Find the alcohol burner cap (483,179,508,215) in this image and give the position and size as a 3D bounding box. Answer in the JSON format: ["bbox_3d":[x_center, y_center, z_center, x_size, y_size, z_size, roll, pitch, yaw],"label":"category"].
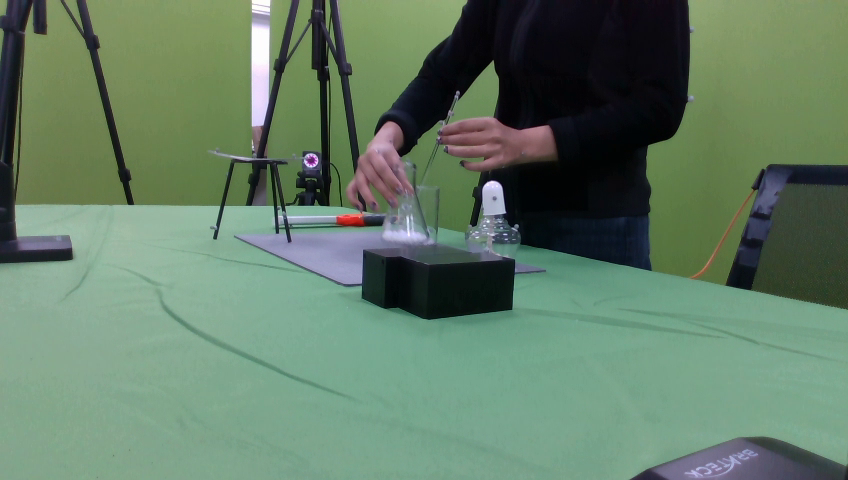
[{"bbox_3d":[0.094,-0.057,0.810,0.034,0.048,0.034,-8,6,1],"label":"alcohol burner cap"}]

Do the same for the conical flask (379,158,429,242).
[{"bbox_3d":[-0.031,-0.060,0.904,0.075,0.122,0.075,-1,5,0],"label":"conical flask"}]

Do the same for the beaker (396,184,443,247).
[{"bbox_3d":[-0.012,-0.043,1.005,0.083,0.100,0.074,8,9,39],"label":"beaker"}]

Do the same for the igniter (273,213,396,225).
[{"bbox_3d":[-0.179,-0.044,1.258,0.278,0.025,0.057,-3,-1,-39],"label":"igniter"}]

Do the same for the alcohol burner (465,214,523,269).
[{"bbox_3d":[0.094,-0.022,0.815,0.078,0.119,0.078,0,7,0],"label":"alcohol burner"}]

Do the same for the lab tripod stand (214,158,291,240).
[{"bbox_3d":[-0.268,-0.068,1.002,0.148,0.131,0.148,3,6,0],"label":"lab tripod stand"}]

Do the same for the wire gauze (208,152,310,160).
[{"bbox_3d":[-0.270,-0.135,0.994,0.124,0.011,0.122,8,8,41],"label":"wire gauze"}]

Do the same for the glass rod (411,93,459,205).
[{"bbox_3d":[0.016,-0.144,0.983,0.008,0.199,0.008,20,23,-8],"label":"glass rod"}]
